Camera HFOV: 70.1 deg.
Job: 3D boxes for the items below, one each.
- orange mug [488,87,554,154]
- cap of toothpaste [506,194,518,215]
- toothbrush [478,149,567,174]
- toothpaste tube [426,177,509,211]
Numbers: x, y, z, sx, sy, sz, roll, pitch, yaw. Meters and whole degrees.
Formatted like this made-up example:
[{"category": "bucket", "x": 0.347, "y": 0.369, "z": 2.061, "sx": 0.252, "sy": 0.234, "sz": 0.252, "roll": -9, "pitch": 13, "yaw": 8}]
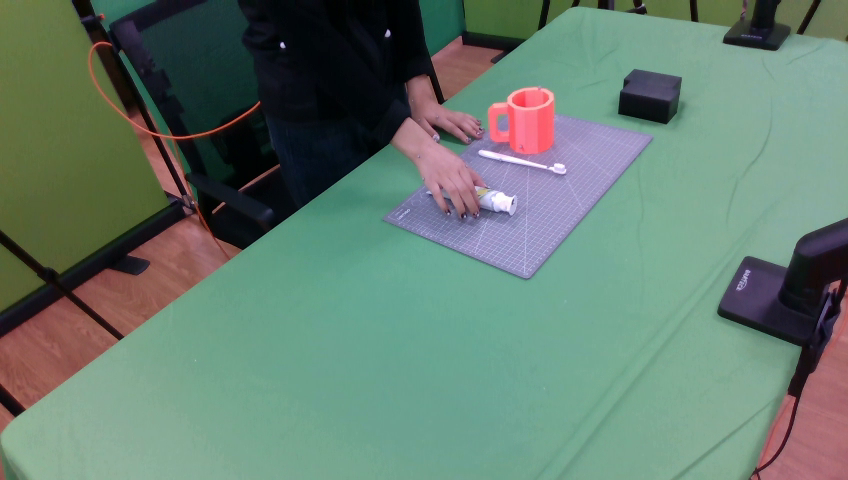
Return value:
[{"category": "orange mug", "x": 0.185, "y": -0.227, "z": 1.151, "sx": 0.126, "sy": 0.101, "sz": 0.083, "roll": 1, "pitch": 41, "yaw": 5}, {"category": "cap of toothpaste", "x": 0.146, "y": -0.060, "z": 1.007, "sx": 0.011, "sy": 0.037, "sz": 0.037, "roll": 14, "pitch": 46, "yaw": 22}, {"category": "toothbrush", "x": 0.179, "y": -0.149, "z": 1.122, "sx": 0.180, "sy": 0.017, "sz": 0.014, "roll": 18, "pitch": 62, "yaw": 30}, {"category": "toothpaste tube", "x": 0.083, "y": -0.082, "z": 1.054, "sx": 0.164, "sy": 0.034, "sz": 0.055, "roll": 18, "pitch": 40, "yaw": 34}]
